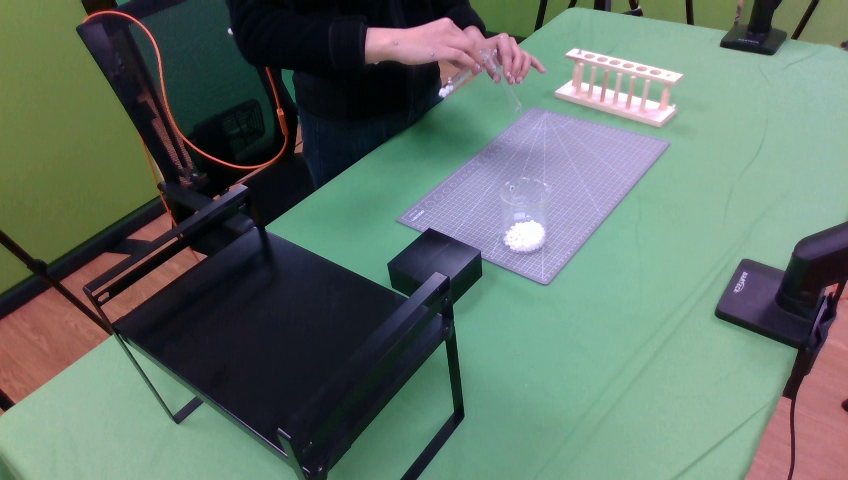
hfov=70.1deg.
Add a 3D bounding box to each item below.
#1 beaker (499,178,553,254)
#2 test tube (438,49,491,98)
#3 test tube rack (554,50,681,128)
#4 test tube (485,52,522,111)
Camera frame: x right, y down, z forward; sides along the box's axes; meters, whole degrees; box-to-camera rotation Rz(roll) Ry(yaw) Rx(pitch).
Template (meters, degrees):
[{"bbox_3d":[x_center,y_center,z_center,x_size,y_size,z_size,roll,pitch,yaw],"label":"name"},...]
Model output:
[{"bbox_3d":[0.158,-0.036,0.929,0.084,0.100,0.073,-16,41,-12],"label":"beaker"},{"bbox_3d":[0.067,-0.271,0.980,0.017,0.017,0.151,20,50,29],"label":"test tube"},{"bbox_3d":[0.388,-0.311,1.234,0.240,0.085,0.067,28,52,34],"label":"test tube rack"},{"bbox_3d":[0.144,-0.280,1.081,0.017,0.151,0.017,-14,57,24],"label":"test tube"}]
